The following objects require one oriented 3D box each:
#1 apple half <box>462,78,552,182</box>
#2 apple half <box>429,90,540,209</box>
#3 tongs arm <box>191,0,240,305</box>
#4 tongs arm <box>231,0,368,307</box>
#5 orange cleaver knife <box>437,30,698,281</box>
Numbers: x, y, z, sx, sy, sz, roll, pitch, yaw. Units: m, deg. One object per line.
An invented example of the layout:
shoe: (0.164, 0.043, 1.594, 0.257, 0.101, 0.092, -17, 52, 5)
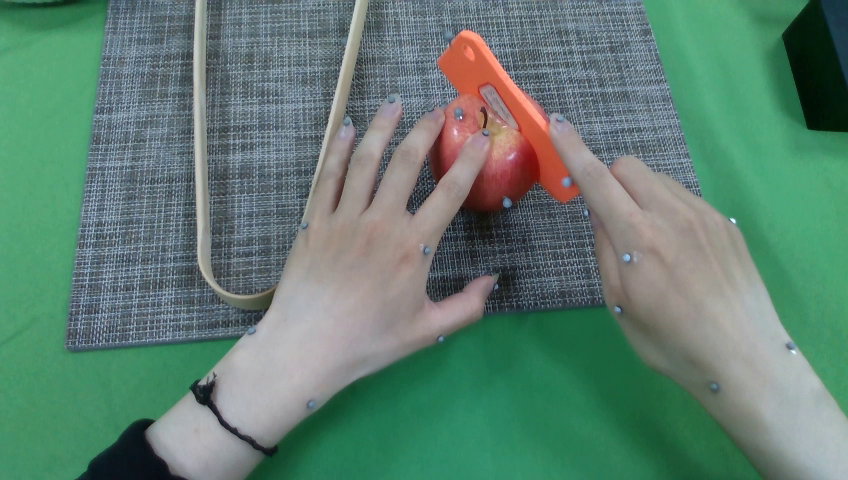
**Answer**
apple half: (0.063, -0.081, 0.430, 0.081, 0.082, 0.033, 42, 67, 14)
apple half: (0.033, -0.053, 0.416, 0.053, 0.075, 0.080, -42, 78, -14)
tongs arm: (-0.163, -0.135, 0.464, 0.028, 0.028, 0.384, -5, 68, -10)
tongs arm: (-0.078, -0.134, 0.466, 0.051, 0.027, 0.382, 7, 68, -1)
orange cleaver knife: (0.083, -0.051, 0.385, 0.012, 0.077, 0.211, -42, 83, -14)
